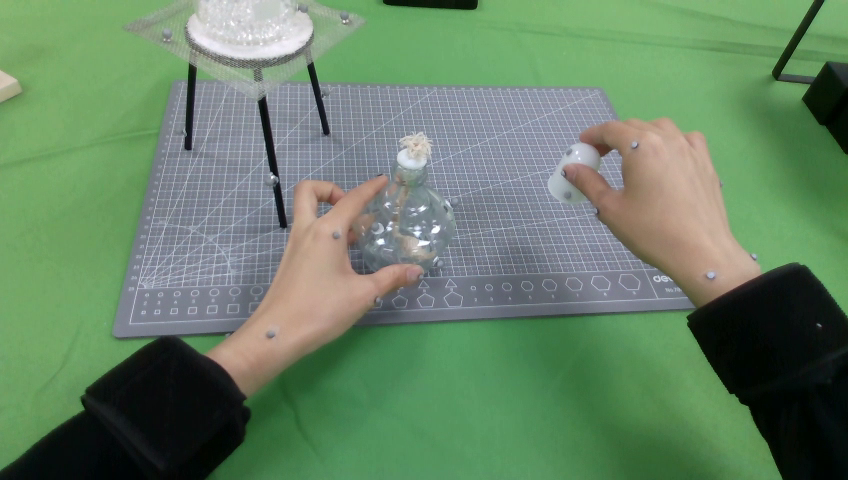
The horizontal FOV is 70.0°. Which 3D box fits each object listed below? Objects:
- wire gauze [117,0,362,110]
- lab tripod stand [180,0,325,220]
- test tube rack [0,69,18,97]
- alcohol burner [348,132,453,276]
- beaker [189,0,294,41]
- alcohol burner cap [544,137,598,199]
[{"bbox_3d":[-0.126,-0.153,0.429,0.124,0.011,0.121,31,54,13],"label":"wire gauze"},{"bbox_3d":[-0.131,-0.110,0.478,0.149,0.132,0.147,6,49,-6],"label":"lab tripod stand"},{"bbox_3d":[-0.460,-0.111,0.465,0.066,0.086,0.241,28,51,16],"label":"test tube rack"},{"bbox_3d":[-0.015,-0.029,0.439,0.078,0.120,0.077,5,47,-5],"label":"alcohol burner"},{"bbox_3d":[-0.125,-0.190,0.395,0.073,0.101,0.084,36,55,20],"label":"beaker"},{"bbox_3d":[0.112,-0.056,0.455,0.034,0.048,0.033,5,55,-7],"label":"alcohol burner cap"}]
